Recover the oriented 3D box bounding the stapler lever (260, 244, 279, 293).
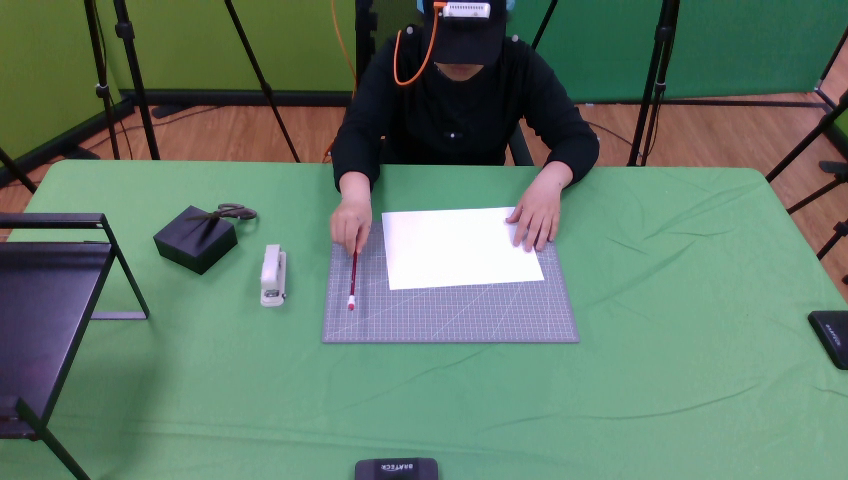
[{"bbox_3d":[-0.279,0.045,1.096,0.027,0.040,0.117,-2,44,-9],"label":"stapler lever"}]

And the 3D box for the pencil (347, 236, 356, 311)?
[{"bbox_3d":[-0.130,0.056,1.098,0.012,0.012,0.193,0,40,-4],"label":"pencil"}]

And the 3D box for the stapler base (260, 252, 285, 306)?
[{"bbox_3d":[-0.279,0.064,1.113,0.041,0.024,0.129,-1,44,-9],"label":"stapler base"}]

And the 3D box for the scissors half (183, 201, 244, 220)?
[{"bbox_3d":[-0.405,-0.054,1.163,0.040,0.013,0.175,29,18,7],"label":"scissors half"}]

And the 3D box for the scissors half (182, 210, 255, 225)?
[{"bbox_3d":[-0.389,-0.042,1.158,0.040,0.013,0.175,41,21,22],"label":"scissors half"}]
